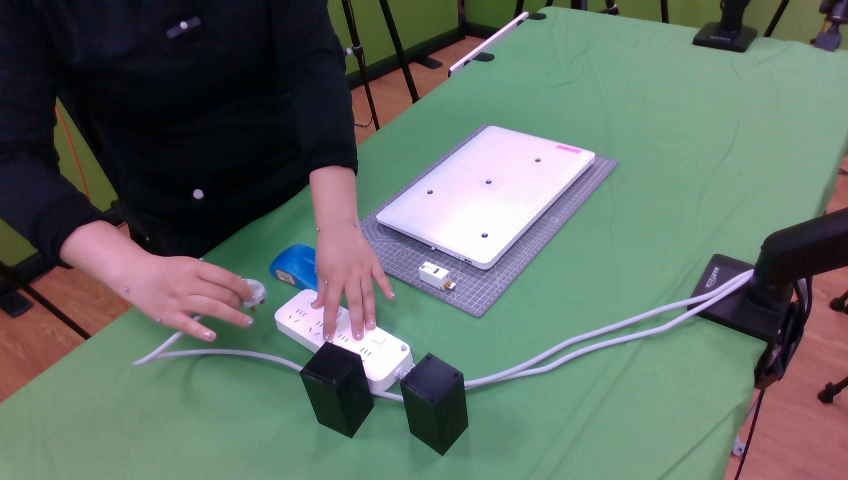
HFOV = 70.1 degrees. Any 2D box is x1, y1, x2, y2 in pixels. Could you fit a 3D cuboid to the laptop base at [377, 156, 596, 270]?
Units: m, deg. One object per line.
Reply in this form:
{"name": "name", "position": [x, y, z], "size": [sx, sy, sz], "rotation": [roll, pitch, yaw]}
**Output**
{"name": "laptop base", "position": [0.115, -0.086, 1.056], "size": [0.233, 0.023, 0.355], "rotation": [21, 48, 34]}

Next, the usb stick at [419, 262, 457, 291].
{"name": "usb stick", "position": [0.022, 0.056, 0.892], "size": [0.058, 0.027, 0.021], "rotation": [25, 48, 31]}

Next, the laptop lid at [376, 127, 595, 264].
{"name": "laptop lid", "position": [0.112, -0.096, 1.050], "size": [0.239, 0.013, 0.358], "rotation": [24, 49, 34]}

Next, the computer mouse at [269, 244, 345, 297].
{"name": "computer mouse", "position": [-0.181, 0.044, 0.932], "size": [0.116, 0.041, 0.063], "rotation": [24, 46, 25]}

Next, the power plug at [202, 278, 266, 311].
{"name": "power plug", "position": [-0.229, 0.072, 0.737], "size": [0.073, 0.053, 0.035], "rotation": [-25, 45, -11]}

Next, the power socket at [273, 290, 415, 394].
{"name": "power socket", "position": [-0.114, 0.134, 0.820], "size": [0.225, 0.033, 0.072], "rotation": [24, 48, 32]}
